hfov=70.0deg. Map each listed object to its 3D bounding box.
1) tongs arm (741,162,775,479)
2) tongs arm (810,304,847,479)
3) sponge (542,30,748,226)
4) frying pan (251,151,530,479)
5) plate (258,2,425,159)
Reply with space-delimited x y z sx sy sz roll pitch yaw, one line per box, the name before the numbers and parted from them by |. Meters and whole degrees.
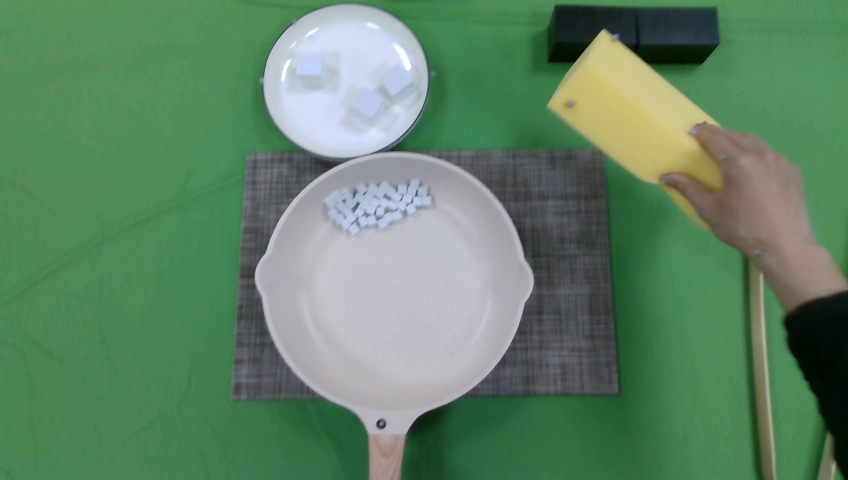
tongs arm | 0.395 0.095 0.712 0.028 0.028 0.386 2 79 -1
tongs arm | 0.475 0.107 0.704 0.051 0.026 0.383 14 80 5
sponge | 0.232 -0.121 0.633 0.207 0.061 0.117 35 38 -4
frying pan | -0.040 0.143 0.659 0.307 0.103 0.484 2 70 1
plate | -0.102 -0.198 0.768 0.208 0.039 0.206 0 78 0
